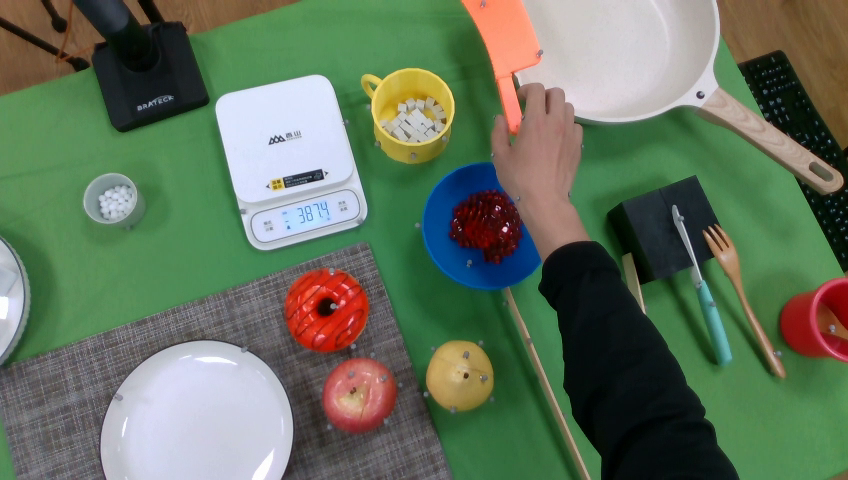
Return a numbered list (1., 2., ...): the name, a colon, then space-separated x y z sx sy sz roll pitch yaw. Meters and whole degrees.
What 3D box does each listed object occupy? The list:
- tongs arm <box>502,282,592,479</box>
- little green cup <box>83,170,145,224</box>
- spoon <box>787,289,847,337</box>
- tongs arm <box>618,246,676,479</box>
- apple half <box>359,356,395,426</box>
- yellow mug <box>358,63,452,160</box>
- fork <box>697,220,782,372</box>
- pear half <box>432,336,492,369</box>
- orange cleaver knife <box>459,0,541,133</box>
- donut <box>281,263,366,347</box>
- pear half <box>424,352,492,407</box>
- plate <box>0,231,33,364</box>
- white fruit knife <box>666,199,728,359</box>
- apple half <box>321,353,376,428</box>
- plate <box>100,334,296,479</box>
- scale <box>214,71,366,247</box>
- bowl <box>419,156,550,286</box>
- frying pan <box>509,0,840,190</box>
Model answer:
1. tongs arm: 0.183 0.218 0.702 0.051 0.026 0.383 -19 81 -12
2. little green cup: -0.365 -0.048 0.719 0.061 0.039 0.061 1 78 -3
3. spoon: 0.496 0.118 0.684 0.041 0.022 0.191 -25 37 -8
4. tongs arm: 0.266 0.198 0.716 0.028 0.028 0.385 -4 79 -13
5. apple half: -0.048 0.170 0.672 0.033 0.081 0.081 13 78 2
6. yellow mug: -0.030 -0.166 0.748 0.130 0.064 0.100 37 79 5
7. fork: 0.383 0.069 0.728 0.028 0.018 0.208 -30 97 -11
8. pear half: 0.045 0.125 0.683 0.070 0.088 0.031 10 79 2
9. orange cleaver knife: 0.100 -0.233 0.732 0.077 0.012 0.210 -15 81 -3
10. donut: -0.116 0.075 0.703 0.099 0.048 0.098 0 79 -1
11. pear half: 0.036 0.156 0.666 0.076 0.110 0.055 12 77 4
12. plate: -0.547 0.072 0.684 0.208 0.039 0.206 1 79 -3
13. white fruit knife: 0.324 0.049 0.721 0.016 0.027 0.207 -22 96 -7
14. apple half: -0.086 0.163 0.673 0.053 0.075 0.080 13 81 3
15. plate: -0.244 0.210 0.672 0.209 0.038 0.208 1 78 -3
16. scale: -0.165 -0.102 0.745 0.149 0.031 0.200 -16 81 -6
17. bowl: 0.067 -0.015 0.719 0.151 0.077 0.150 1 79 -3
18. frying pan: 0.298 -0.216 0.759 0.485 0.103 0.306 41 80 13
